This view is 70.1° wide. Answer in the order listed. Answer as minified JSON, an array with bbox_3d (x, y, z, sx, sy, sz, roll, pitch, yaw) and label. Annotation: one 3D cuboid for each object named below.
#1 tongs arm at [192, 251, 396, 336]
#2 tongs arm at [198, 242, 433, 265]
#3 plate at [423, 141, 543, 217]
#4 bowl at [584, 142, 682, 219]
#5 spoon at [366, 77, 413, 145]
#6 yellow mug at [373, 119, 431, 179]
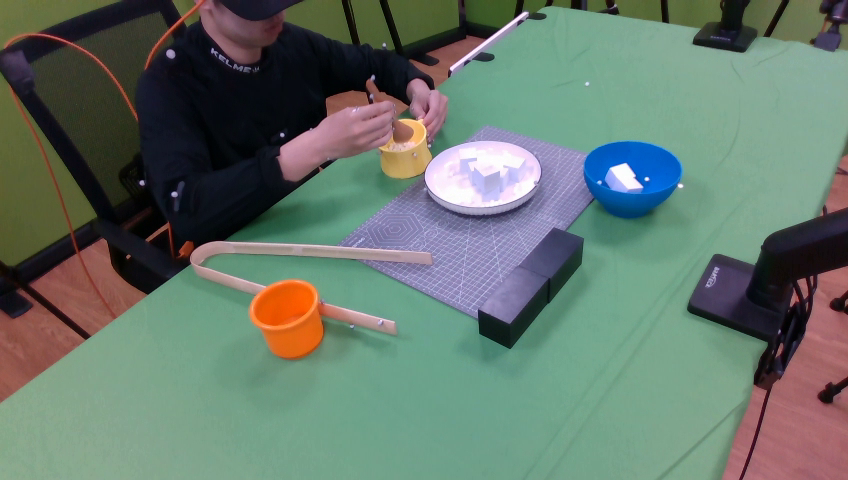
[{"bbox_3d":[-0.203,0.074,0.902,0.382,0.026,0.051,11,44,22],"label":"tongs arm"},{"bbox_3d":[-0.176,0.024,0.960,0.386,0.028,0.028,2,45,12],"label":"tongs arm"},{"bbox_3d":[0.103,-0.104,1.059,0.207,0.039,0.206,-4,40,4],"label":"plate"},{"bbox_3d":[0.333,-0.087,0.980,0.151,0.077,0.150,-4,40,3],"label":"bowl"},{"bbox_3d":[-0.061,-0.214,1.021,0.041,0.195,0.021,-31,59,4],"label":"spoon"},{"bbox_3d":[-0.031,-0.182,1.142,0.099,0.064,0.131,25,56,30],"label":"yellow mug"}]
